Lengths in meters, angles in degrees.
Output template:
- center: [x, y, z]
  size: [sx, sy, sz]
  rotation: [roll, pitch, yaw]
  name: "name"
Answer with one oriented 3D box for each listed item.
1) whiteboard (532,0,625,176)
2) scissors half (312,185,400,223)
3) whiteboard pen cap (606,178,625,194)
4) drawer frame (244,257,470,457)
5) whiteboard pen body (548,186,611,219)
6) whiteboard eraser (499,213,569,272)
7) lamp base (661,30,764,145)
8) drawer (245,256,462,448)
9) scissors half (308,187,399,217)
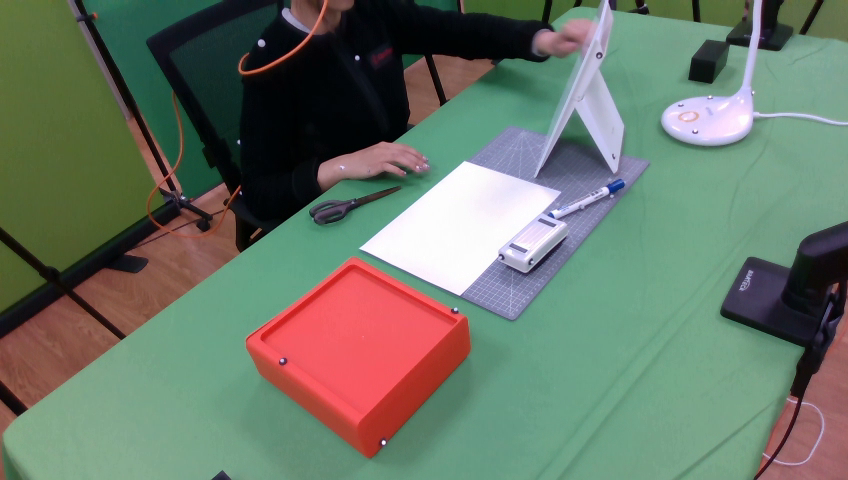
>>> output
- center: [0.320, -0.259, 1.050]
  size: [0.144, 0.306, 0.217]
  rotation: [21, 45, 5]
  name: "whiteboard"
- center: [-0.119, -0.066, 1.088]
  size: [0.176, 0.013, 0.040]
  rotation: [-25, 38, -24]
  name: "scissors half"
- center: [0.320, -0.090, 1.016]
  size: [0.033, 0.018, 0.018]
  rotation: [-27, 43, -13]
  name: "whiteboard pen cap"
- center: [-0.084, 0.138, 0.788]
  size: [0.212, 0.083, 0.202]
  rotation: [25, 50, 33]
  name: "drawer frame"
- center: [0.267, -0.066, 1.004]
  size: [0.141, 0.017, 0.017]
  rotation: [-25, 43, -13]
  name: "whiteboard pen body"
- center: [0.168, 0.006, 0.923]
  size: [0.055, 0.042, 0.113]
  rotation: [29, 53, 34]
  name: "whiteboard eraser"
- center: [0.535, -0.287, 1.096]
  size: [0.179, 0.181, 0.159]
  rotation: [-10, 40, -4]
  name: "lamp base"
- center: [-0.089, 0.136, 0.792]
  size: [0.210, 0.073, 0.195]
  rotation: [26, 51, 34]
  name: "drawer"
- center: [-0.126, -0.075, 1.104]
  size: [0.176, 0.013, 0.039]
  rotation: [-16, 29, -10]
  name: "scissors half"
